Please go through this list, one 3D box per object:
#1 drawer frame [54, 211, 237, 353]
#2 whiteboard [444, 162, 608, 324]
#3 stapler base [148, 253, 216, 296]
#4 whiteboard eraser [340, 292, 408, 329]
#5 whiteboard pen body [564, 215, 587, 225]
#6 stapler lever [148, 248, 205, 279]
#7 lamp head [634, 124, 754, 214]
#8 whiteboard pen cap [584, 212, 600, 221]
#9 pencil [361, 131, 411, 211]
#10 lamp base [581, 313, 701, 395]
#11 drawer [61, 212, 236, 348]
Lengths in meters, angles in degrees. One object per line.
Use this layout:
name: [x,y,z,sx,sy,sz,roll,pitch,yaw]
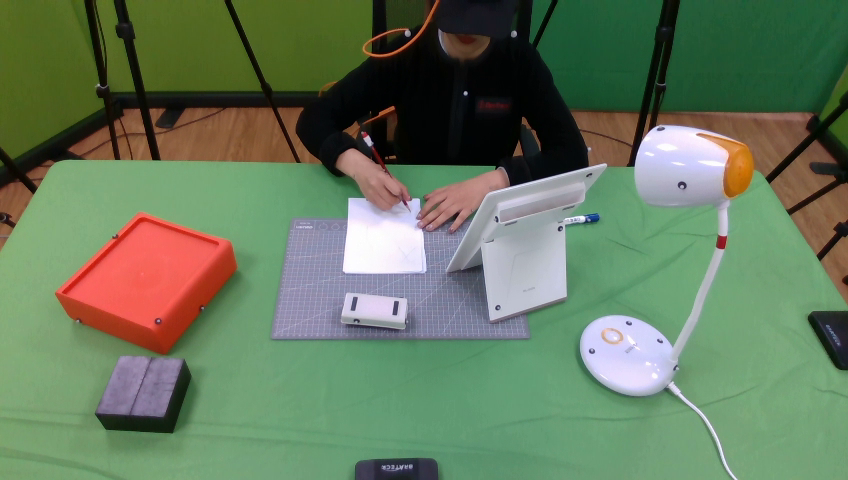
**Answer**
drawer frame: [-0.473,0.067,1.055,0.201,0.083,0.212,17,48,11]
whiteboard: [0.186,0.026,1.028,0.217,0.306,0.143,-14,68,-17]
stapler base: [-0.443,0.058,1.108,0.130,0.024,0.041,24,52,12]
whiteboard eraser: [-0.087,0.125,1.052,0.113,0.042,0.055,5,45,1]
whiteboard pen body: [0.291,-0.040,1.261,0.141,0.017,0.017,-6,47,-11]
stapler lever: [-0.444,0.038,1.083,0.118,0.040,0.027,19,51,17]
lamp head: [0.351,-0.089,0.776,0.112,0.113,0.122,-30,30,-28]
whiteboard pen cap: [0.351,-0.048,1.271,0.033,0.018,0.018,-6,47,-11]
pencil: [-0.074,-0.137,1.225,0.012,0.195,0.012,-25,25,13]
lamp base: [0.361,0.144,0.973,0.178,0.181,0.160,34,53,23]
drawer: [-0.473,0.064,1.060,0.194,0.073,0.211,18,48,11]
